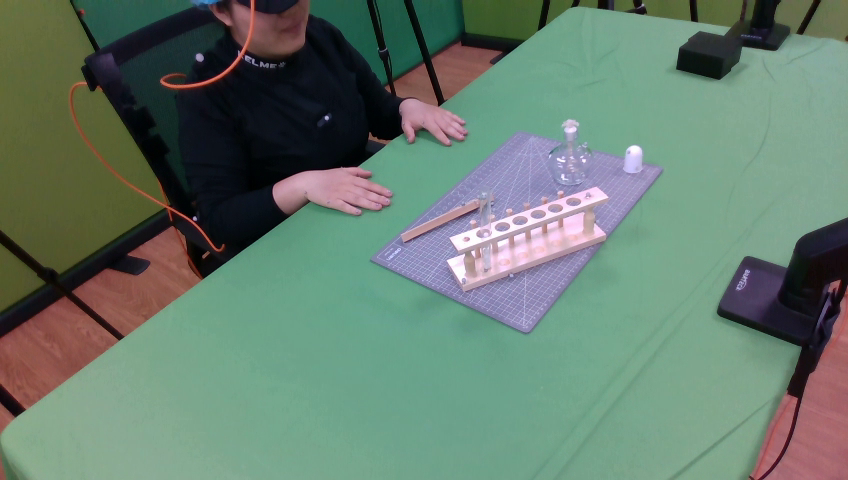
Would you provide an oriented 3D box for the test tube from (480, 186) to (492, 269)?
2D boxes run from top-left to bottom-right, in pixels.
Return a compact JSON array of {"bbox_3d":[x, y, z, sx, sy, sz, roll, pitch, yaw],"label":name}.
[{"bbox_3d":[0.088,-0.014,0.852,0.017,0.151,0.017,-3,42,3],"label":"test tube"}]

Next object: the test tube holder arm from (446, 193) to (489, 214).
[{"bbox_3d":[0.078,-0.058,1.037,0.088,0.015,0.010,-26,10,-18],"label":"test tube holder arm"}]

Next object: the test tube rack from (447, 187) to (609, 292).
[{"bbox_3d":[0.154,-0.011,0.913,0.243,0.085,0.066,-19,41,-11],"label":"test tube rack"}]

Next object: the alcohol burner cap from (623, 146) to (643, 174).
[{"bbox_3d":[0.369,-0.142,1.061,0.034,0.048,0.033,-7,40,6],"label":"alcohol burner cap"}]

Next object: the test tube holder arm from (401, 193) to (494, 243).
[{"bbox_3d":[0.041,-0.039,1.018,0.179,0.015,0.013,-26,10,-18],"label":"test tube holder arm"}]

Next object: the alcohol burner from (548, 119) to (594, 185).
[{"bbox_3d":[0.254,-0.155,1.043,0.078,0.120,0.077,-7,40,6],"label":"alcohol burner"}]
